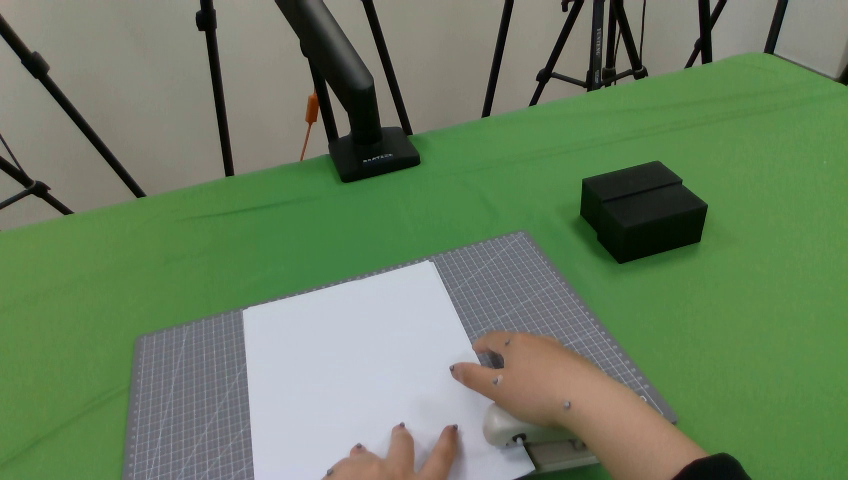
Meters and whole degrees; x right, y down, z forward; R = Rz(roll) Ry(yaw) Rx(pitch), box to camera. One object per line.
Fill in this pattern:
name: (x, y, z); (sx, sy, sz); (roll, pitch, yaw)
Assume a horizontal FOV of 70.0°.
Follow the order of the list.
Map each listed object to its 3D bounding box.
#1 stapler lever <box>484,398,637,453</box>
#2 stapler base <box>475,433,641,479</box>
stapler lever: (0.105, 0.140, 0.468); (0.118, 0.040, 0.026); (-9, 40, -4)
stapler base: (0.106, 0.159, 0.483); (0.131, 0.024, 0.041); (-8, 39, -5)
